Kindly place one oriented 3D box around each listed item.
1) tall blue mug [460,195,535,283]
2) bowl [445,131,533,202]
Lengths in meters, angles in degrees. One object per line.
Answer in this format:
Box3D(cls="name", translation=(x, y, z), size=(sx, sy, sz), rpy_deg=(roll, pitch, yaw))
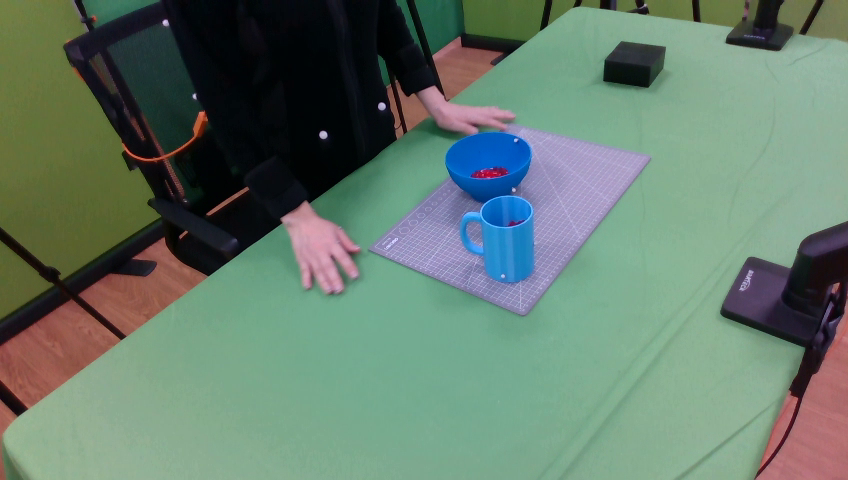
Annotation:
Box3D(cls="tall blue mug", translation=(0.109, 0.001, 0.891), size=(0.107, 0.108, 0.077), rpy_deg=(-8, 41, 1))
Box3D(cls="bowl", translation=(0.115, -0.119, 1.056), size=(0.151, 0.077, 0.150), rpy_deg=(-6, 40, 5))
